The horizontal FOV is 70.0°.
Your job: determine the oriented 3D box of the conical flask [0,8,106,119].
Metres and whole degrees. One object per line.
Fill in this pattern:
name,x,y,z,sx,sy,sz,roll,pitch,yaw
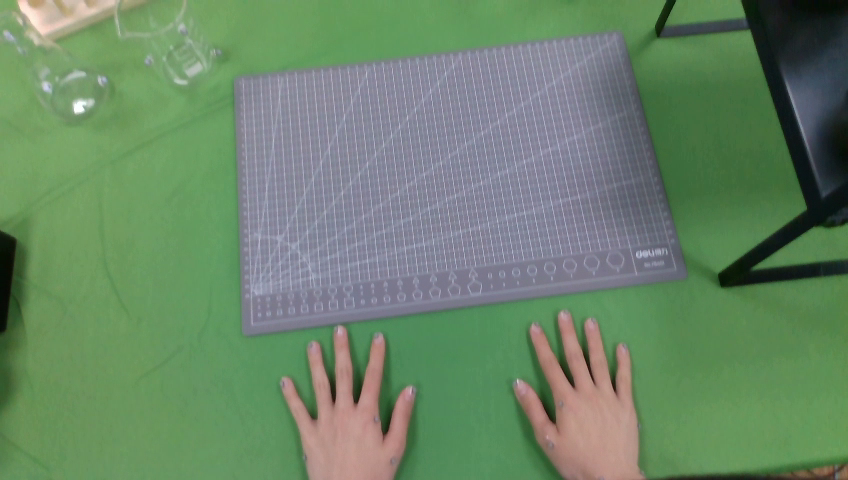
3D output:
conical flask,-0.402,-0.188,0.639,0.075,0.122,0.075,0,71,2

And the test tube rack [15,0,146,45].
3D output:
test tube rack,-0.369,-0.325,0.704,0.242,0.086,0.066,-26,73,-8

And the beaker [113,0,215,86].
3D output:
beaker,-0.280,-0.221,0.661,0.073,0.101,0.084,39,76,14
